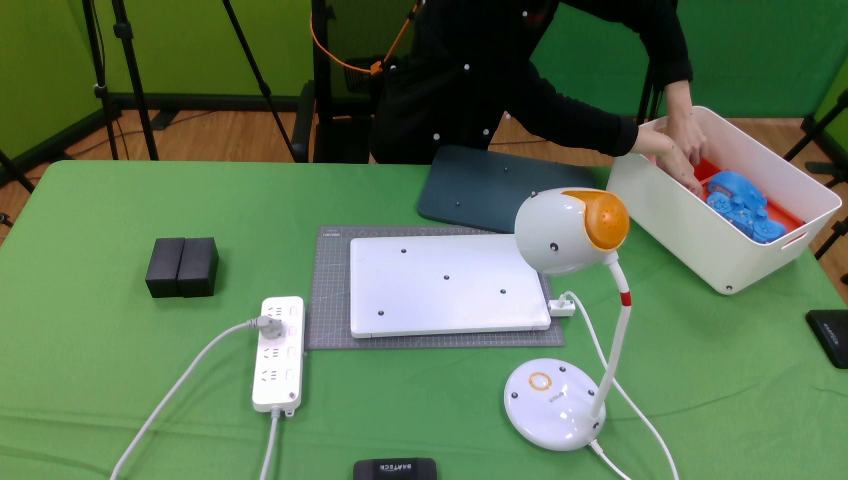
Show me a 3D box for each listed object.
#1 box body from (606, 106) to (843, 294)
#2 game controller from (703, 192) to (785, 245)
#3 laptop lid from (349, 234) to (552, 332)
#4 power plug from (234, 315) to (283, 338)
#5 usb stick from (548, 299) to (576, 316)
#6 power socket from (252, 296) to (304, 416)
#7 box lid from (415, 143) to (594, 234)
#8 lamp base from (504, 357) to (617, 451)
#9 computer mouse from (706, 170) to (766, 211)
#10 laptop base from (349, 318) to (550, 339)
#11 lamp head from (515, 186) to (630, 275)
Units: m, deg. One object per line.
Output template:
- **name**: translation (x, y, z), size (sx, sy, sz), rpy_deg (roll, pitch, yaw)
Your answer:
- **box body**: translation (0.582, -0.088, 1.230), size (0.254, 0.161, 0.361), rpy_deg (-22, 52, -23)
- **game controller**: translation (0.612, -0.045, 1.168), size (0.154, 0.052, 0.097), rpy_deg (35, 56, 26)
- **laptop lid**: translation (0.040, 0.071, 1.118), size (0.357, 0.013, 0.240), rpy_deg (0, 44, -5)
- **power plug**: translation (-0.269, 0.143, 1.000), size (0.072, 0.053, 0.035), rpy_deg (4, 47, 3)
- **usb stick**: translation (0.239, 0.121, 1.084), size (0.059, 0.027, 0.021), rpy_deg (-1, 51, -1)
- **power socket**: translation (-0.238, 0.181, 0.997), size (0.072, 0.033, 0.225), rpy_deg (-3, 47, -5)
- **box lid**: translation (0.185, -0.105, 1.322), size (0.371, 0.015, 0.262), rpy_deg (11, 46, 7)
- **lamp base**: translation (0.220, 0.211, 0.903), size (0.160, 0.181, 0.178), rpy_deg (-33, 59, -30)
- **computer mouse**: translation (0.635, -0.100, 1.229), size (0.063, 0.041, 0.116), rpy_deg (-29, 61, -30)
- **laptop base**: translation (0.039, 0.081, 1.125), size (0.355, 0.023, 0.234), rpy_deg (-2, 43, -6)
- **lamp head**: translation (0.188, -0.013, 0.728), size (0.112, 0.112, 0.122), rpy_deg (-25, 9, -25)
